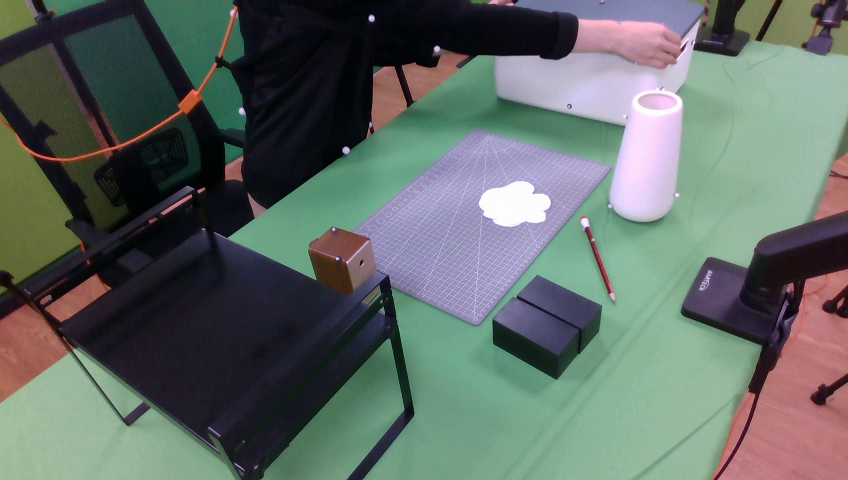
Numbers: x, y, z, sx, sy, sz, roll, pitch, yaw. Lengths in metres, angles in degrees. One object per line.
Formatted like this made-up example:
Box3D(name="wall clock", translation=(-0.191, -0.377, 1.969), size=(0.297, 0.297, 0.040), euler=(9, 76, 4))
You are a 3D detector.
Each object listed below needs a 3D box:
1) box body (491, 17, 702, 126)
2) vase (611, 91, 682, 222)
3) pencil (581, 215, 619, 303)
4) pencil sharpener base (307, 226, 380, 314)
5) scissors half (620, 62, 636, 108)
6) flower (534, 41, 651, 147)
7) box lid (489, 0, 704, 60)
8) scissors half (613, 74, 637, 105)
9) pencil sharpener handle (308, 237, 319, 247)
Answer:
Box3D(name="box body", translation=(0.352, -0.384, 1.268), size=(0.361, 0.161, 0.255), euler=(21, 48, 29))
Box3D(name="vase", translation=(0.348, -0.125, 0.935), size=(0.098, 0.201, 0.097), euler=(-3, 40, 3))
Box3D(name="pencil", translation=(0.266, 0.025, 0.916), size=(0.012, 0.012, 0.193), euler=(-6, 41, 1))
Box3D(name="pencil sharpener base", translation=(-0.116, 0.043, 0.875), size=(0.076, 0.107, 0.061), euler=(18, 47, 27))
Box3D(name="scissors half", translation=(0.434, -0.340, 1.298), size=(0.013, 0.040, 0.174), euler=(25, 42, -12))
Box3D(name="flower", translation=(0.364, -0.319, 1.318), size=(0.038, 0.044, 0.359), euler=(-4, 48, -49))
Box3D(name="box lid", translation=(0.345, -0.443, 1.216), size=(0.369, 0.015, 0.264), euler=(21, 48, 29))
Box3D(name="scissors half", translation=(0.427, -0.330, 1.306), size=(0.013, 0.040, 0.174), euler=(31, 31, -14))
Box3D(name="pencil sharpener handle", translation=(-0.158, 0.017, 0.892), size=(0.030, 0.068, 0.036), euler=(18, 61, 28))
